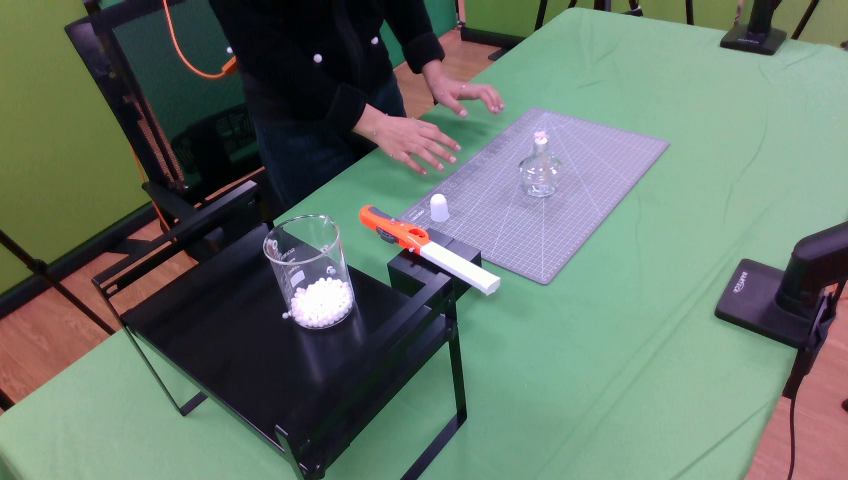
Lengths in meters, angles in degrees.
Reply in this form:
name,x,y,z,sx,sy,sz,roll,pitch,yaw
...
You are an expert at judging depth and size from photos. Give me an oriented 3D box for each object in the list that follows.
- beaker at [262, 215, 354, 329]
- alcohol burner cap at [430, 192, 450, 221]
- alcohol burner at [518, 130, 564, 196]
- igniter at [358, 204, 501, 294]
name,x,y,z,sx,sy,sz,roll,pitch,yaw
beaker,-0.112,0.034,0.616,0.073,0.101,0.084,13,44,23
alcohol burner cap,0.025,-0.059,1.020,0.034,0.048,0.033,-4,41,4
alcohol burner,0.199,-0.135,1.027,0.078,0.119,0.077,-5,42,5
igniter,-0.003,0.006,0.892,0.274,0.025,0.057,29,41,34
